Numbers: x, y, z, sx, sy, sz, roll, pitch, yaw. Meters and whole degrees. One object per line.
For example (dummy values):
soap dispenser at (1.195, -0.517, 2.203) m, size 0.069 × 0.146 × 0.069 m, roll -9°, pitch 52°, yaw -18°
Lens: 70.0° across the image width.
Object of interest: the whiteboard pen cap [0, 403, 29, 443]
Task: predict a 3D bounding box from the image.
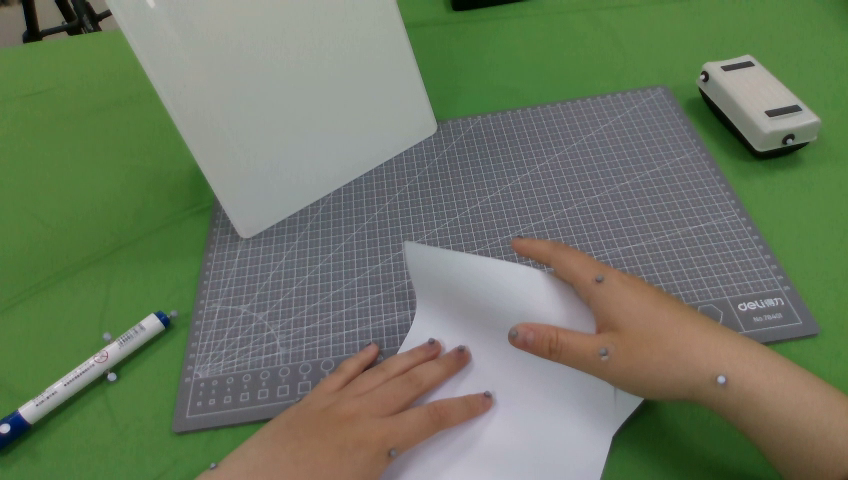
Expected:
whiteboard pen cap at (-0.290, 0.128, 0.419) m, size 0.018 × 0.018 × 0.033 m, roll 33°, pitch 60°, yaw 31°

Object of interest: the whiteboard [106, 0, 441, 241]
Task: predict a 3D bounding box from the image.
whiteboard at (-0.150, -0.197, 0.536) m, size 0.217 × 0.308 × 0.142 m, roll -32°, pitch 32°, yaw -18°

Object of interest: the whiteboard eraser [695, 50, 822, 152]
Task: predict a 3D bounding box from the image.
whiteboard eraser at (0.297, -0.125, 0.546) m, size 0.055 × 0.042 × 0.111 m, roll -15°, pitch 49°, yaw -2°

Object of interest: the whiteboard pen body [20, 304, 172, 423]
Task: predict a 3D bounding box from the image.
whiteboard pen body at (-0.249, 0.095, 0.445) m, size 0.017 × 0.017 × 0.140 m, roll 33°, pitch 60°, yaw 31°
